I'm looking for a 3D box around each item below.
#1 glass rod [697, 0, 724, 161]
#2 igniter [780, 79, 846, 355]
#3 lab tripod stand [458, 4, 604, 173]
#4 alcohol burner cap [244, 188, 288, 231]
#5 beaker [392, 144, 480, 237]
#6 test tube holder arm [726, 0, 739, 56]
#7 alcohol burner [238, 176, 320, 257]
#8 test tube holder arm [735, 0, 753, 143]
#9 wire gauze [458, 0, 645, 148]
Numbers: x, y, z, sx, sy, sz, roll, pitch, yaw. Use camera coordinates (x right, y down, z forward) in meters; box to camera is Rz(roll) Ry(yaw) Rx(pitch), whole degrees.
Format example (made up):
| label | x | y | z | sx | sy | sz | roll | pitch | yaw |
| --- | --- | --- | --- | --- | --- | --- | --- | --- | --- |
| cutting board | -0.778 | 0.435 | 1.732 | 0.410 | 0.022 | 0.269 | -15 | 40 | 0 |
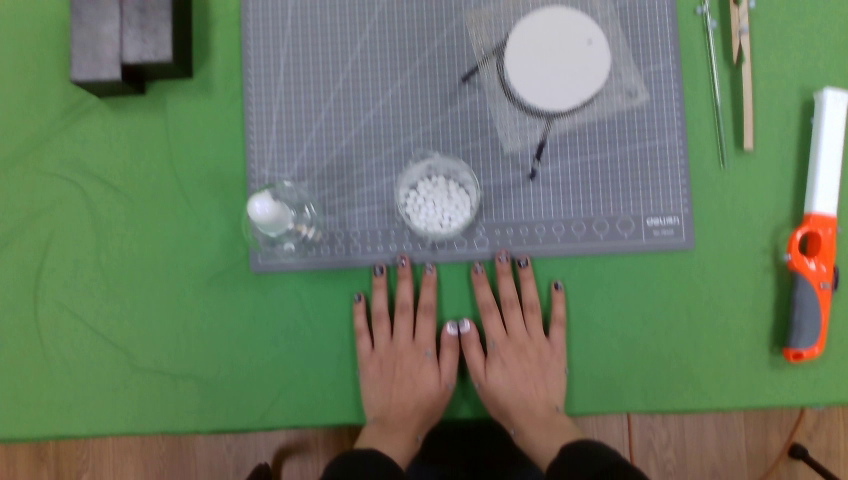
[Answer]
| label | x | y | z | sx | sy | sz | roll | pitch | yaw |
| --- | --- | --- | --- | --- | --- | --- | --- | --- | --- |
| glass rod | 0.292 | -0.179 | 0.620 | 0.008 | 0.008 | 0.199 | -5 | 87 | 0 |
| igniter | 0.388 | -0.022 | 0.603 | 0.057 | 0.025 | 0.276 | 8 | 87 | -9 |
| lab tripod stand | 0.098 | -0.145 | 0.555 | 0.148 | 0.131 | 0.148 | 0 | 88 | 3 |
| alcohol burner cap | -0.139 | -0.029 | 0.526 | 0.034 | 0.048 | 0.033 | 0 | 77 | 0 |
| beaker | 0.009 | -0.042 | 0.568 | 0.074 | 0.100 | 0.084 | -25 | 86 | -1 |
| test tube holder arm | 0.315 | -0.232 | 0.619 | 0.010 | 0.015 | 0.087 | -5 | 87 | 34 |
| alcohol burner | -0.138 | -0.024 | 0.561 | 0.078 | 0.119 | 0.077 | 0 | 84 | 1 |
| test tube holder arm | 0.323 | -0.188 | 0.614 | 0.013 | 0.015 | 0.178 | -6 | 87 | 34 |
| wire gauze | 0.101 | -0.151 | 0.489 | 0.121 | 0.011 | 0.125 | -18 | 87 | 1 |
